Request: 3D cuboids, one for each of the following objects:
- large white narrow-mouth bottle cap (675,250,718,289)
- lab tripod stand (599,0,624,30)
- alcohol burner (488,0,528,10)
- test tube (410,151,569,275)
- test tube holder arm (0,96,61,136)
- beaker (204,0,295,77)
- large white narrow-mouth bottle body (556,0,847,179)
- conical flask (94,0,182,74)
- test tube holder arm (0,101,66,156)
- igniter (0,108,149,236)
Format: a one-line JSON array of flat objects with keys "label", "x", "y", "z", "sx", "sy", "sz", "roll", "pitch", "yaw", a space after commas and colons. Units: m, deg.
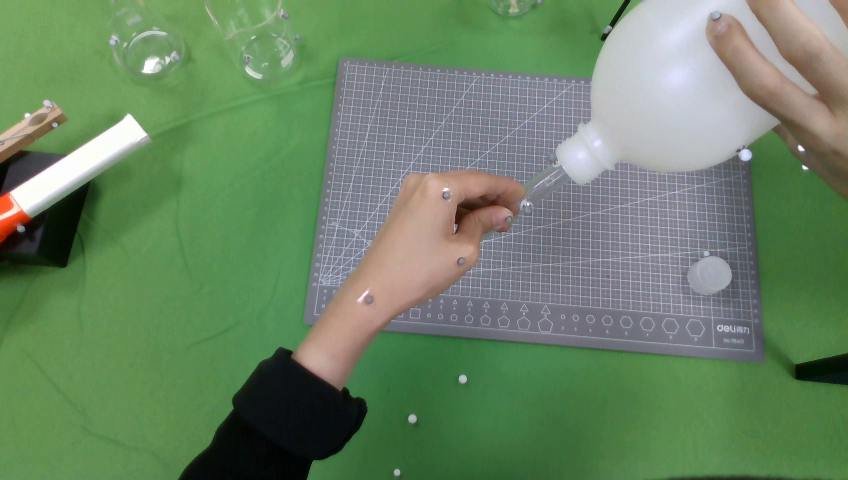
[{"label": "large white narrow-mouth bottle cap", "x": 0.272, "y": 0.030, "z": 0.602, "sx": 0.038, "sy": 0.024, "sz": 0.037, "roll": 0, "pitch": 75, "yaw": -1}, {"label": "lab tripod stand", "x": 0.267, "y": -0.291, "z": 0.640, "sx": 0.148, "sy": 0.132, "sz": 0.147, "roll": 1, "pitch": 72, "yaw": -3}, {"label": "alcohol burner", "x": 0.098, "y": -0.307, "z": 0.651, "sx": 0.078, "sy": 0.119, "sz": 0.077, "roll": 1, "pitch": 72, "yaw": -3}, {"label": "test tube", "x": 0.042, "y": -0.015, "z": 0.422, "sx": 0.150, "sy": 0.017, "sz": 0.017, "roll": -37, "pitch": 72, "yaw": 33}, {"label": "test tube holder arm", "x": -0.422, "y": -0.078, "z": 0.566, "sx": 0.178, "sy": 0.015, "sz": 0.013, "roll": -39, "pitch": 78, "yaw": -13}, {"label": "beaker", "x": -0.176, "y": -0.220, "z": 0.624, "sx": 0.074, "sy": 0.101, "sz": 0.083, "roll": 19, "pitch": 74, "yaw": 5}, {"label": "large white narrow-mouth bottle body", "x": 0.156, "y": -0.102, "z": 0.330, "sx": 0.195, "sy": 0.102, "sz": 0.101, "roll": -39, "pitch": 74, "yaw": 27}, {"label": "conical flask", "x": -0.301, "y": -0.230, "z": 0.611, "sx": 0.075, "sy": 0.122, "sz": 0.075, "roll": 0, "pitch": 73, "yaw": -1}, {"label": "test tube holder arm", "x": -0.384, "y": -0.101, "z": 0.575, "sx": 0.088, "sy": 0.015, "sz": 0.010, "roll": -38, "pitch": 78, "yaw": -12}, {"label": "igniter", "x": -0.380, "y": -0.032, "z": 0.551, "sx": 0.276, "sy": 0.025, "sz": 0.057, "roll": -39, "pitch": 80, "yaw": -15}]
